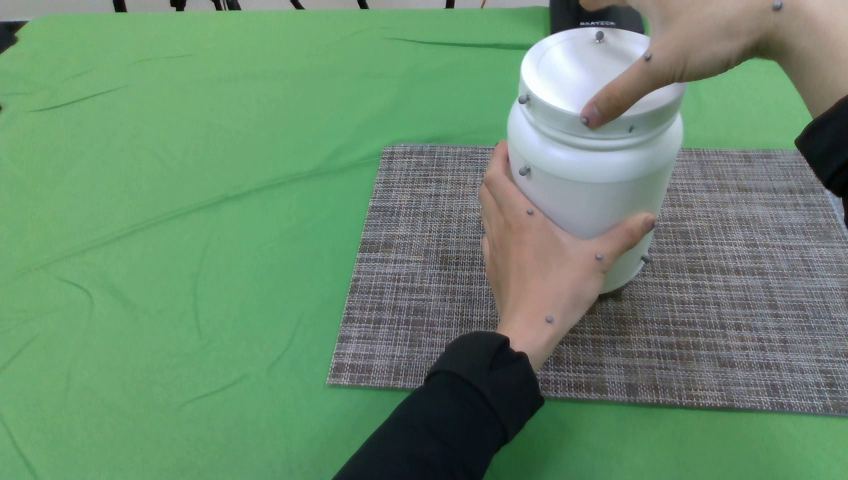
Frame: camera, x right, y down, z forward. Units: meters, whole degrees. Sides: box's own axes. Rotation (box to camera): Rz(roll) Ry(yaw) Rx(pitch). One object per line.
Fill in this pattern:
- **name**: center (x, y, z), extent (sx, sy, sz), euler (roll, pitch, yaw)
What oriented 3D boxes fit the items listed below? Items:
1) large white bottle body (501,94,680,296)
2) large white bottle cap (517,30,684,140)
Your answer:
- **large white bottle body**: center (0.130, -0.057, 0.497), extent (0.130, 0.186, 0.129), euler (-2, 48, 3)
- **large white bottle cap**: center (0.124, -0.114, 0.432), extent (0.115, 0.018, 0.113), euler (-2, 48, 2)
